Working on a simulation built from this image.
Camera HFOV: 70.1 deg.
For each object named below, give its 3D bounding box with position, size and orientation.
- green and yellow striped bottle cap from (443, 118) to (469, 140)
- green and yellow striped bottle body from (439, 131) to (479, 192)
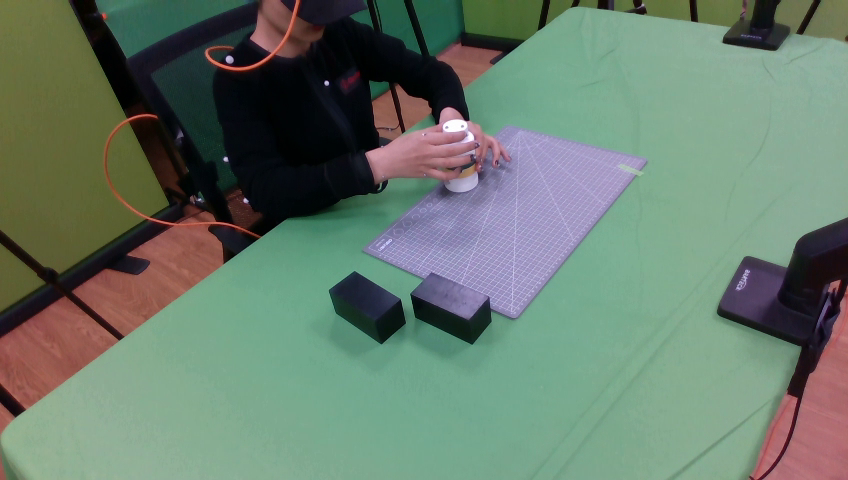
[{"bbox_3d":[0.054,-0.189,1.034,0.045,0.020,0.045,-4,43,4],"label":"green and yellow striped bottle cap"},{"bbox_3d":[0.061,-0.149,1.066,0.063,0.120,0.063,-5,40,5],"label":"green and yellow striped bottle body"}]
